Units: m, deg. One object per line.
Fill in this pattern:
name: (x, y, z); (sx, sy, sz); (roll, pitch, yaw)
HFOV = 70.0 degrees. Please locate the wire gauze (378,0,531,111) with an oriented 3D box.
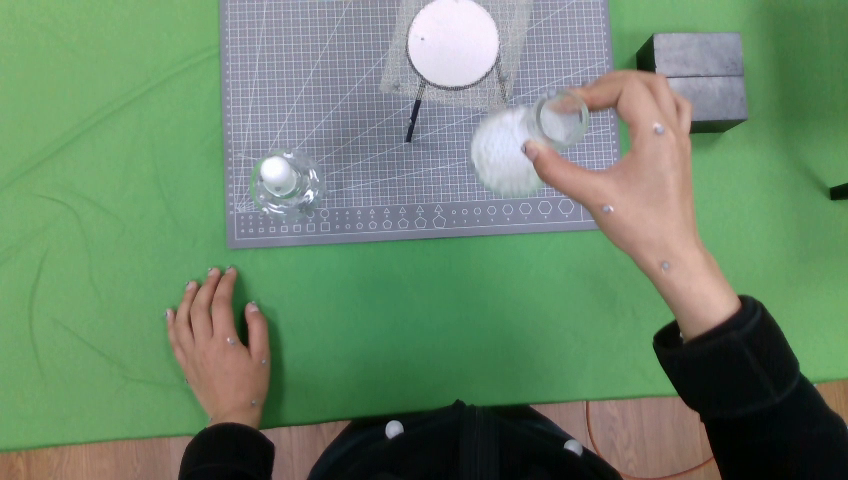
wire gauze: (0.030, -0.190, 0.564); (0.121, 0.011, 0.125); (14, 84, -1)

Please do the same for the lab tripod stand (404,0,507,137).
lab tripod stand: (0.022, -0.184, 0.631); (0.148, 0.131, 0.148); (0, 85, 0)

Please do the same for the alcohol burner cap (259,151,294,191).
alcohol burner cap: (-0.145, -0.069, 0.587); (0.034, 0.048, 0.033); (1, 80, -5)

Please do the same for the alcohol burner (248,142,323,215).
alcohol burner: (-0.145, -0.066, 0.622); (0.078, 0.119, 0.078); (0, 86, -2)

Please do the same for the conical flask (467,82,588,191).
conical flask: (0.079, -0.079, 0.444); (0.075, 0.121, 0.075); (0, 88, -9)
